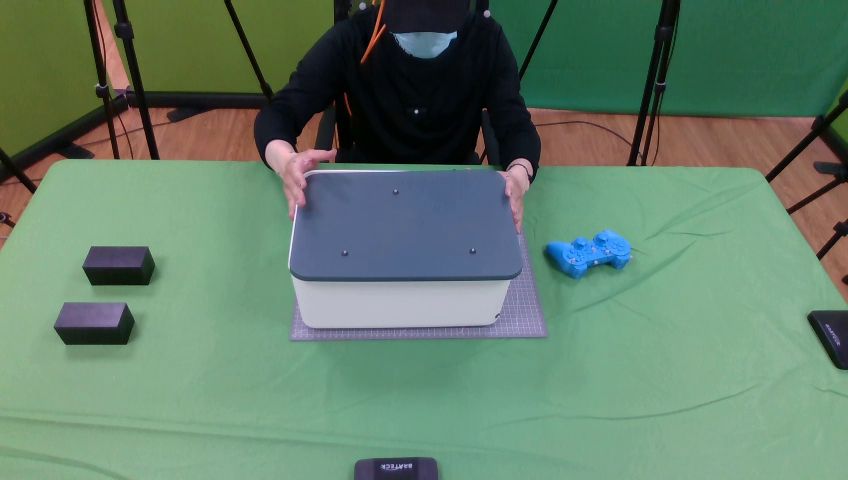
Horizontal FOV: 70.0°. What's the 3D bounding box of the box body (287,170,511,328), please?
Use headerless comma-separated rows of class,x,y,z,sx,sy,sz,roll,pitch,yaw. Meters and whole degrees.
box body,-0.040,0.015,1.075,0.364,0.161,0.252,-1,47,-4

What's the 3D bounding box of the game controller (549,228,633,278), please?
game controller,0.331,0.016,1.182,0.155,0.052,0.096,-12,52,-13

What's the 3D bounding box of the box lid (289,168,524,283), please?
box lid,-0.028,-0.032,1.012,0.372,0.015,0.261,-1,46,-4
